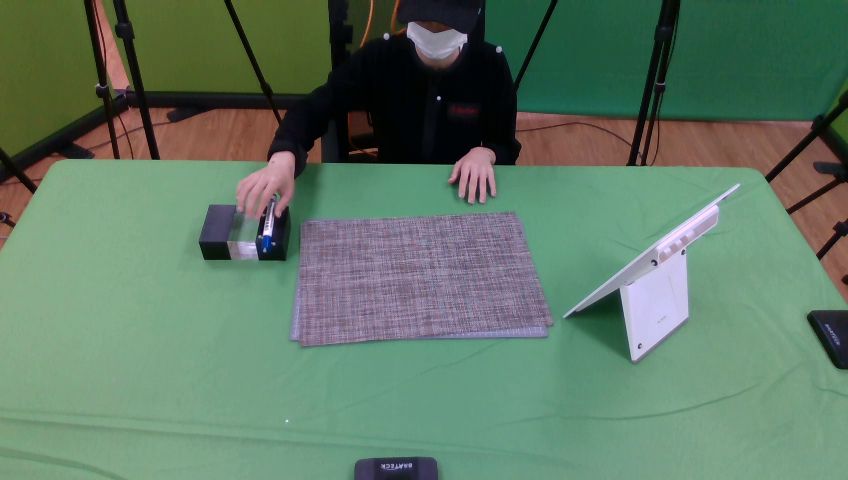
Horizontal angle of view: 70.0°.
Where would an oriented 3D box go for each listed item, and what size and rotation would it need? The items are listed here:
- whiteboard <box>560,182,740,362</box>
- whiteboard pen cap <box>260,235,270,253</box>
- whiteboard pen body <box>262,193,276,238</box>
[{"bbox_3d":[0.406,0.075,1.001,0.217,0.306,0.143,-28,73,-28],"label":"whiteboard"},{"bbox_3d":[-0.289,0.005,1.103,0.018,0.018,0.033,0,48,-5],"label":"whiteboard pen cap"},{"bbox_3d":[-0.294,-0.037,1.145,0.017,0.017,0.140,-1,47,-5],"label":"whiteboard pen body"}]
